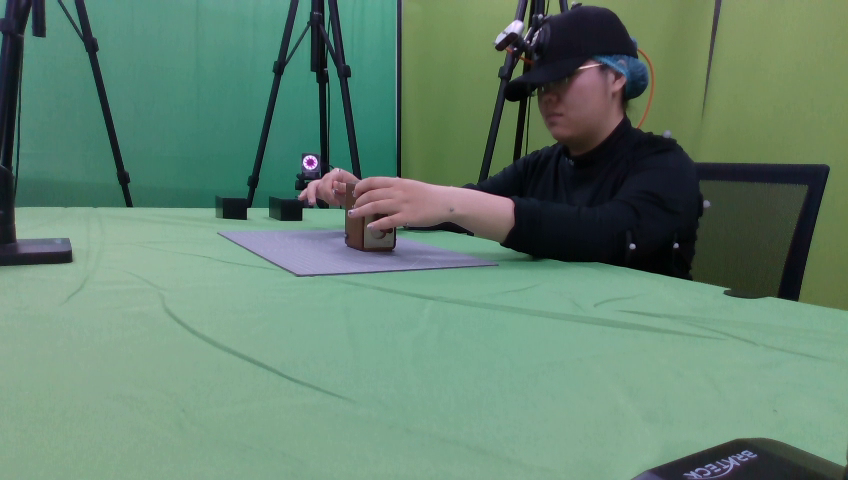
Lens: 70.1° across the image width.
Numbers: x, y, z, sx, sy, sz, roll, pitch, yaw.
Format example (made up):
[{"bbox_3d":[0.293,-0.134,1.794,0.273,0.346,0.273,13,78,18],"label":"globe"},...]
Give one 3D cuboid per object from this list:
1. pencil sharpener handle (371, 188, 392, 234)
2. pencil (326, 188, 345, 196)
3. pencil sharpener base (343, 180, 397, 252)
[{"bbox_3d":[-0.059,-0.044,0.913,0.036,0.067,0.030,0,8,-32],"label":"pencil sharpener handle"},{"bbox_3d":[-0.124,-0.076,1.025,0.012,0.012,0.193,-2,10,-33],"label":"pencil"},{"bbox_3d":[-0.085,-0.038,0.957,0.062,0.107,0.076,-1,9,-31],"label":"pencil sharpener base"}]
